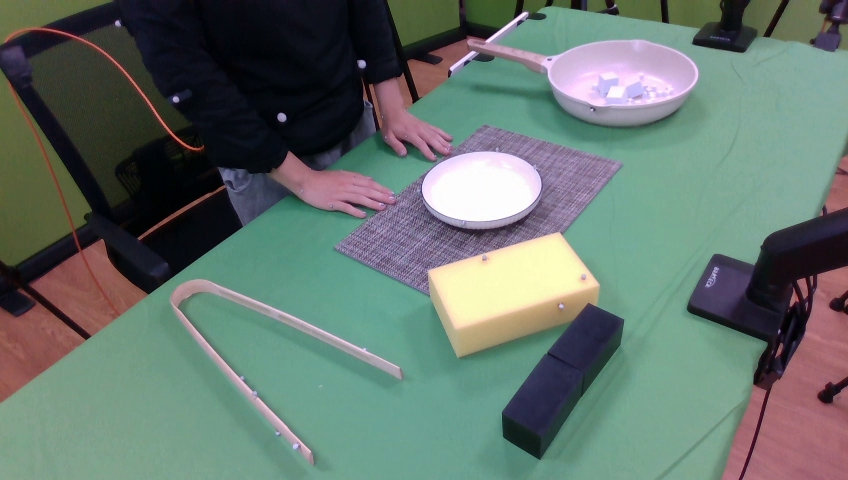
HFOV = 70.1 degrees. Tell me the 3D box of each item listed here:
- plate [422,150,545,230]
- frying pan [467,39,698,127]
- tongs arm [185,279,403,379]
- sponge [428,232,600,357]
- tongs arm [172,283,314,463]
[{"bbox_3d":[0.101,-0.082,1.031,0.207,0.039,0.206,-4,40,4],"label":"plate"},{"bbox_3d":[0.312,-0.359,1.277,0.485,0.103,0.307,23,48,19],"label":"frying pan"},{"bbox_3d":[-0.194,0.120,0.853,0.385,0.028,0.028,17,49,26],"label":"tongs arm"},{"bbox_3d":[0.120,0.071,0.834,0.207,0.061,0.117,-16,43,-12],"label":"sponge"},{"bbox_3d":[-0.246,0.161,0.806,0.381,0.026,0.051,29,51,36],"label":"tongs arm"}]
